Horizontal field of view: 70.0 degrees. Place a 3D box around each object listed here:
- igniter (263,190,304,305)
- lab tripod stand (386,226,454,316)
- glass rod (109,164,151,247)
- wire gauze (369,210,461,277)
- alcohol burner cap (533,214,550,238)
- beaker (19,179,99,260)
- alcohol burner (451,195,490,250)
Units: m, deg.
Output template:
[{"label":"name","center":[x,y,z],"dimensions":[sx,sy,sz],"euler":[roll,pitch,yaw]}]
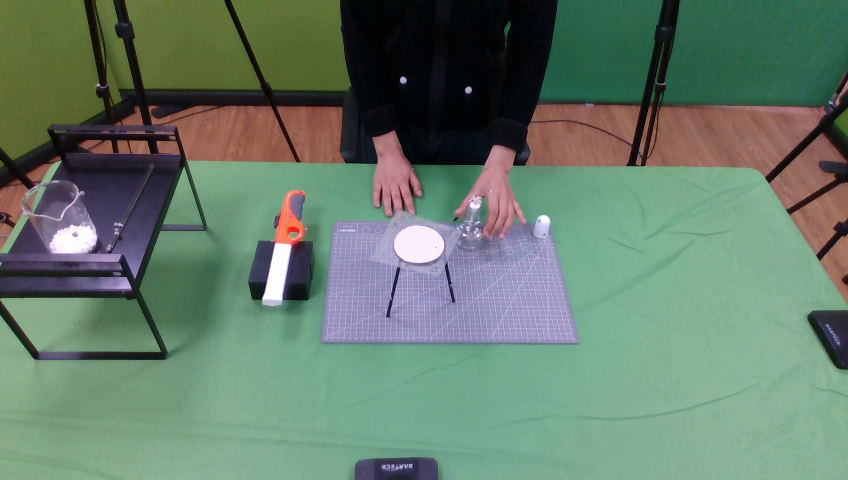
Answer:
[{"label":"igniter","center":[-0.255,0.004,1.107],"dimensions":[0.057,0.025,0.274],"euler":[6,47,-7]},{"label":"lab tripod stand","center":[-0.014,0.054,1.064],"dimensions":[0.148,0.132,0.147],"euler":[2,48,-2]},{"label":"glass rod","center":[-0.473,-0.061,0.979],"dimensions":[0.008,0.008,0.198],"euler":[1,46,-3]},{"label":"wire gauze","center":[-0.013,0.006,1.017],"dimensions":[0.121,0.011,0.124],"euler":[17,49,12]},{"label":"alcohol burner cap","center":[0.240,-0.031,1.228],"dimensions":[0.034,0.048,0.033],"euler":[1,46,-1]},{"label":"beaker","center":[-0.522,-0.024,0.878],"dimensions":[0.074,0.101,0.083],"euler":[-26,54,-25]},{"label":"alcohol burner","center":[0.092,-0.038,1.175],"dimensions":[0.078,0.120,0.077],"euler":[2,45,-2]}]
